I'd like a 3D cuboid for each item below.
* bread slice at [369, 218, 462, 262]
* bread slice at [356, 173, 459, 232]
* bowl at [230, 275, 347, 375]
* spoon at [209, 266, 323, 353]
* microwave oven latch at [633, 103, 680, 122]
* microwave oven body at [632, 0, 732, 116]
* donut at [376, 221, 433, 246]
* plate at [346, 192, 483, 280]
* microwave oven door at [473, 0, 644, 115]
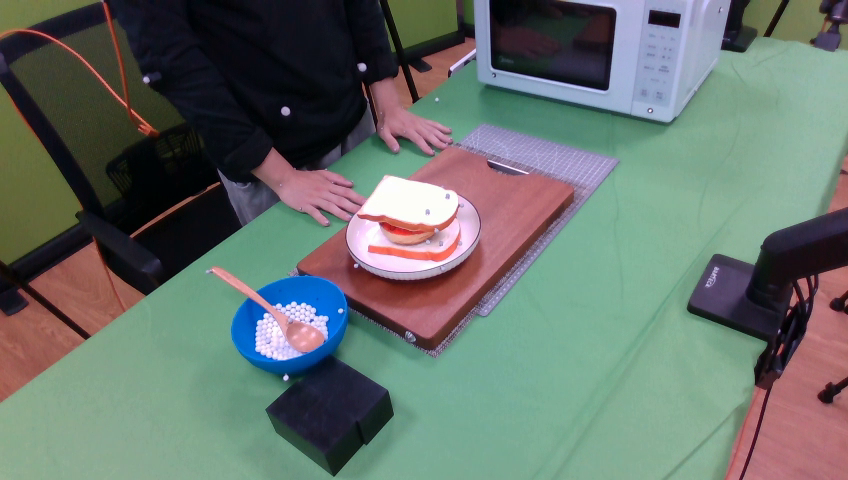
[{"bbox_3d":[-0.008,-0.009,0.929,0.131,0.019,0.105,7,44,20],"label":"bread slice"},{"bbox_3d":[-0.018,-0.054,0.886,0.134,0.018,0.107,12,43,12],"label":"bread slice"},{"bbox_3d":[-0.171,0.125,0.802,0.151,0.077,0.150,-4,40,4],"label":"bowl"},{"bbox_3d":[-0.213,0.087,0.806,0.193,0.021,0.042,36,56,11],"label":"spoon"},{"bbox_3d":[0.444,-0.249,1.157,0.078,0.029,0.030,21,49,30],"label":"microwave oven latch"},{"bbox_3d":[0.377,-0.462,1.267,0.438,0.261,0.327,21,48,30],"label":"microwave oven body"},{"bbox_3d":[-0.023,-0.031,0.906,0.099,0.048,0.098,-9,42,9],"label":"donut"},{"bbox_3d":[-0.013,-0.008,0.922,0.207,0.039,0.206,-4,40,4],"label":"plate"},{"bbox_3d":[0.257,-0.396,1.199,0.353,0.245,0.039,21,48,29],"label":"microwave oven door"}]
